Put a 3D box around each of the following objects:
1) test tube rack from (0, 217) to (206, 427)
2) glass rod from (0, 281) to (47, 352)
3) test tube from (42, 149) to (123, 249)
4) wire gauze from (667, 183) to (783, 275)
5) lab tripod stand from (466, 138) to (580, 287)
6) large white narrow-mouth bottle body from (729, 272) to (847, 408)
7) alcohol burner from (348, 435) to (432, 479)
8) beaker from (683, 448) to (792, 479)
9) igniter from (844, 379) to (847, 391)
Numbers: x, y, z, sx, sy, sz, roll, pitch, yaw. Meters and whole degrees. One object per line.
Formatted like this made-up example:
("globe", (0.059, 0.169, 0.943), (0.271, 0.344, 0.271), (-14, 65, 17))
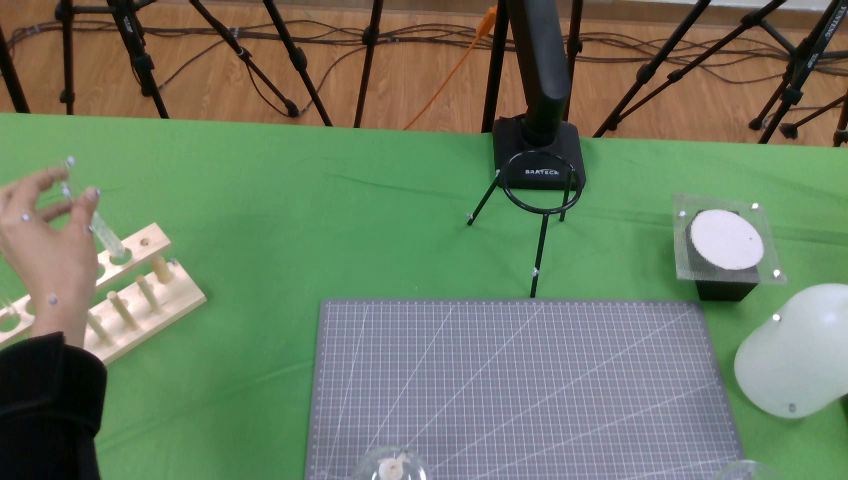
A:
("test tube rack", (-0.360, 0.083, 0.628), (0.242, 0.086, 0.066), (-36, 66, -23))
("glass rod", (-0.392, 0.053, 0.567), (0.008, 0.201, 0.008), (4, 48, -4))
("test tube", (-0.305, -0.031, 0.550), (0.017, 0.151, 0.017), (3, 61, -4))
("wire gauze", (0.352, -0.013, 0.720), (0.121, 0.011, 0.124), (7, 57, 1))
("lab tripod stand", (0.124, -0.038, 0.707), (0.148, 0.132, 0.147), (2, 58, -4))
("large white narrow-mouth bottle body", (0.393, 0.091, 0.603), (0.102, 0.196, 0.101), (1, 57, -2))
("alcohol burner", (-0.030, 0.211, 0.546), (0.078, 0.120, 0.077), (3, 56, -4))
("beaker", (0.275, 0.241, 0.553), (0.084, 0.101, 0.073), (5, 57, 1))
("igniter", (0.472, 0.236, 0.614), (0.057, 0.025, 0.274), (11, 57, -9))
